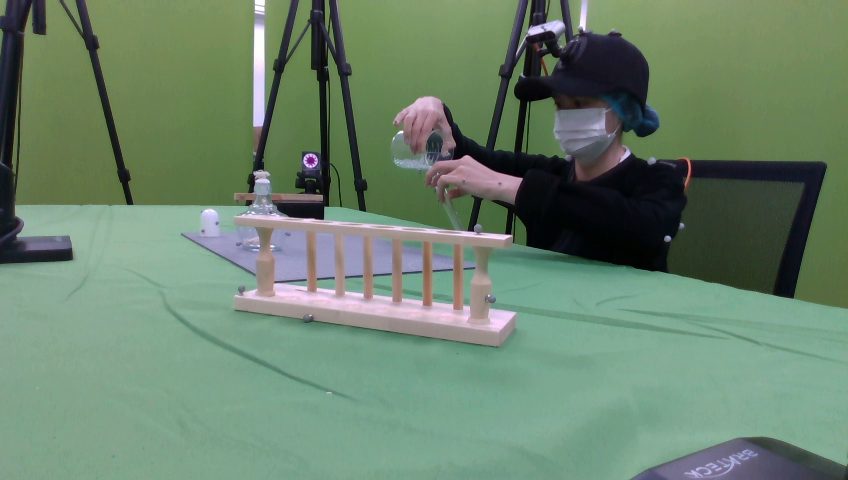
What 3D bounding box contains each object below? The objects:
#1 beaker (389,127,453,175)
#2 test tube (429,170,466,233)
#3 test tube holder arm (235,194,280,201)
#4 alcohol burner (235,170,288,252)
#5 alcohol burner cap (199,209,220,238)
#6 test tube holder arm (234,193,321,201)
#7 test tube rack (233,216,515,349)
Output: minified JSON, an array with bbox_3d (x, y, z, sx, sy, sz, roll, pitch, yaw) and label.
[{"bbox_3d":[-0.009,-0.161,1.094,0.074,0.084,0.100,14,-3,-44],"label":"beaker"},{"bbox_3d":[0.039,-0.062,1.019,0.017,0.017,0.149,-1,51,-29],"label":"test tube"},{"bbox_3d":[-0.336,-0.086,1.221,0.088,0.015,0.010,-1,16,-29],"label":"test tube holder arm"},{"bbox_3d":[-0.236,-0.042,0.882,0.078,0.119,0.078,2,9,0],"label":"alcohol burner"},{"bbox_3d":[-0.356,-0.027,1.002,0.034,0.048,0.034,2,7,0],"label":"alcohol burner cap"},{"bbox_3d":[-0.299,-0.088,1.248,0.179,0.015,0.013,-1,16,-30],"label":"test tube holder arm"},{"bbox_3d":[-0.045,0.029,0.526,0.241,0.085,0.067,5,8,19],"label":"test tube rack"}]
